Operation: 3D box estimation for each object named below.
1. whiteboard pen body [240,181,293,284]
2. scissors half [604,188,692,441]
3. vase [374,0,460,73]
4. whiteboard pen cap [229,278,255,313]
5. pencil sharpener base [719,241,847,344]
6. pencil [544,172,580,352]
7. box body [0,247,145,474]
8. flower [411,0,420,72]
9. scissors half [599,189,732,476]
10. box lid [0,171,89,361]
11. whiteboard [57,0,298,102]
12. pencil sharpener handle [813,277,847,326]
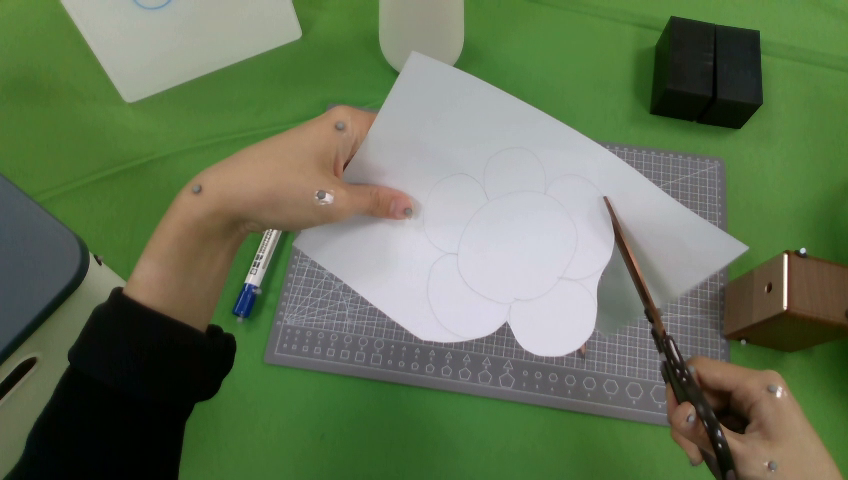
[{"bbox_3d":[-0.164,0.001,0.621,0.017,0.017,0.140,15,68,5],"label":"whiteboard pen body"},{"bbox_3d":[0.137,0.047,0.363,0.013,0.040,0.176,-22,109,9],"label":"scissors half"},{"bbox_3d":[-0.008,-0.266,0.629,0.098,0.201,0.097,0,68,0],"label":"vase"},{"bbox_3d":[-0.179,0.054,0.599,0.018,0.018,0.033,14,65,4],"label":"whiteboard pen cap"},{"bbox_3d":[0.338,0.053,0.566,0.077,0.107,0.061,12,69,0],"label":"pencil sharpener base"},{"bbox_3d":[0.144,0.019,0.625,0.012,0.012,0.192,-5,72,-3],"label":"pencil"},{"bbox_3d":[-0.470,0.033,0.526,0.362,0.161,0.253,34,73,11],"label":"box body"},{"bbox_3d":[-0.012,-0.309,0.556,0.044,0.365,0.038,2,51,3],"label":"flower"},{"bbox_3d":[0.135,0.051,0.342,0.013,0.040,0.175,-23,86,4],"label":"scissors half"},{"bbox_3d":[-0.470,0.005,0.457,0.370,0.015,0.262,34,72,11],"label":"box lid"},{"bbox_3d":[-0.294,-0.341,0.626,0.217,0.308,0.142,-25,52,-9],"label":"whiteboard"},{"bbox_3d":[0.389,0.061,0.554,0.030,0.068,0.035,12,63,0],"label":"pencil sharpener handle"}]
